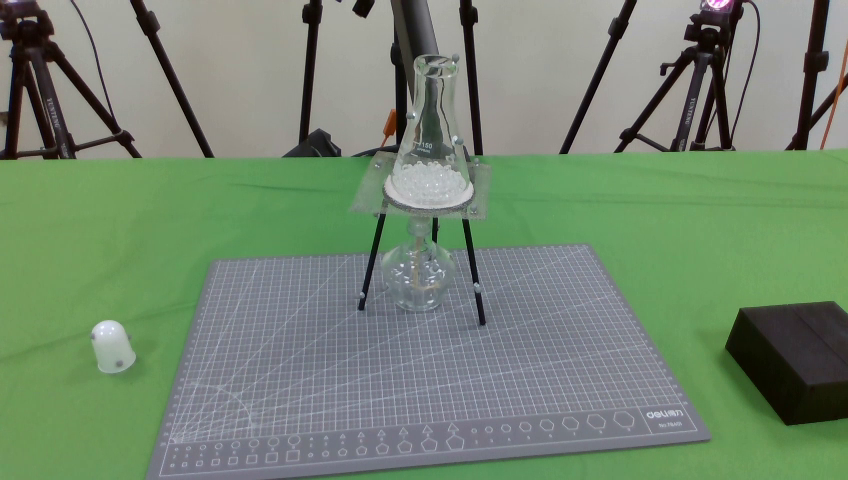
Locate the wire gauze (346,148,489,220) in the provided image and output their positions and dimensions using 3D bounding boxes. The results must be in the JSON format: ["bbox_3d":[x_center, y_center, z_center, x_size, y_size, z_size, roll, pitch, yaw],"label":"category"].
[{"bbox_3d":[-0.001,-0.053,0.575,0.121,0.011,0.124,6,36,5],"label":"wire gauze"}]

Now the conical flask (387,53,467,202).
[{"bbox_3d":[0.005,-0.101,0.539,0.075,0.123,0.074,2,34,-1],"label":"conical flask"}]

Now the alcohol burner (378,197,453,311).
[{"bbox_3d":[-0.008,0.011,0.615,0.078,0.120,0.077,1,32,0],"label":"alcohol burner"}]

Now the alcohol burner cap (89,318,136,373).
[{"bbox_3d":[-0.282,0.092,0.544,0.034,0.048,0.033,1,33,-1],"label":"alcohol burner cap"}]

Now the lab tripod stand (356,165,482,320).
[{"bbox_3d":[0.003,0.003,0.611,0.148,0.132,0.147,3,33,-2],"label":"lab tripod stand"}]
